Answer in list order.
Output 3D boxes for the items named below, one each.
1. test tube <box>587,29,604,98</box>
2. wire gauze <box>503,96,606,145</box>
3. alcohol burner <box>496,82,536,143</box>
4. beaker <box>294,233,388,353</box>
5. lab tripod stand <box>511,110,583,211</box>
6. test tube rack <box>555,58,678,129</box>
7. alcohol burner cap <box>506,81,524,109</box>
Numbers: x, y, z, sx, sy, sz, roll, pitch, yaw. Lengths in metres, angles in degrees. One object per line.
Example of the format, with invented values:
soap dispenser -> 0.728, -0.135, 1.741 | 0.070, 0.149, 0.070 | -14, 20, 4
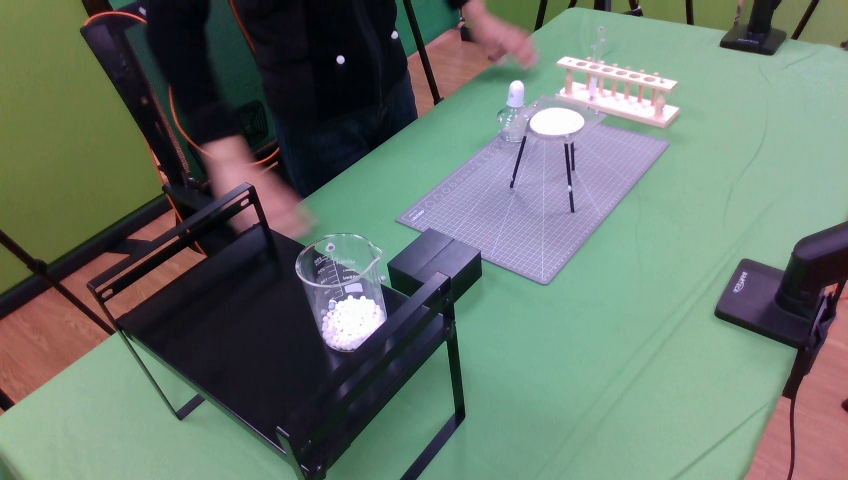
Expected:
test tube -> 0.342, -0.349, 1.209 | 0.017, 0.151, 0.017 | -3, 46, 4
wire gauze -> 0.211, -0.192, 0.975 | 0.120, 0.011, 0.125 | 24, 49, 32
alcohol burner -> 0.178, -0.250, 1.168 | 0.078, 0.119, 0.077 | -5, 42, 5
beaker -> -0.073, 0.053, 0.585 | 0.084, 0.101, 0.073 | -13, 41, -6
lab tripod stand -> 0.220, -0.138, 1.014 | 0.148, 0.132, 0.147 | -3, 41, 3
test tube rack -> 0.390, -0.307, 1.229 | 0.240, 0.085, 0.067 | 25, 50, 33
alcohol burner cap -> 0.173, -0.277, 1.144 | 0.034, 0.048, 0.033 | 0, 39, 0
